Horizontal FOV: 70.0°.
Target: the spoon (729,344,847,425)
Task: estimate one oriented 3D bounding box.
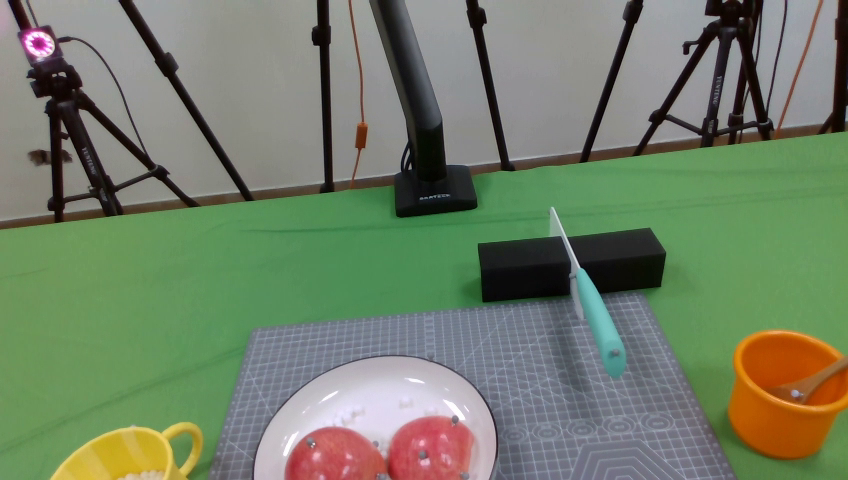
[{"bbox_3d":[0.338,0.097,0.491,0.022,0.194,0.041,33,32,-22],"label":"spoon"}]

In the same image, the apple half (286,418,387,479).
[{"bbox_3d":[-0.076,0.180,0.503,0.074,0.054,0.081,24,46,39],"label":"apple half"}]

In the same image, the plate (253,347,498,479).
[{"bbox_3d":[-0.040,0.180,0.525,0.209,0.038,0.207,-4,36,3],"label":"plate"}]

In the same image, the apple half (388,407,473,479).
[{"bbox_3d":[0.004,0.170,0.520,0.081,0.033,0.080,-4,38,3],"label":"apple half"}]

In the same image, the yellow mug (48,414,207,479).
[{"bbox_3d":[-0.238,0.200,0.511,0.099,0.064,0.130,16,41,29],"label":"yellow mug"}]

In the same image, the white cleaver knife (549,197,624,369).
[{"bbox_3d":[0.169,0.039,0.663,0.021,0.066,0.284,-9,31,5],"label":"white cleaver knife"}]
